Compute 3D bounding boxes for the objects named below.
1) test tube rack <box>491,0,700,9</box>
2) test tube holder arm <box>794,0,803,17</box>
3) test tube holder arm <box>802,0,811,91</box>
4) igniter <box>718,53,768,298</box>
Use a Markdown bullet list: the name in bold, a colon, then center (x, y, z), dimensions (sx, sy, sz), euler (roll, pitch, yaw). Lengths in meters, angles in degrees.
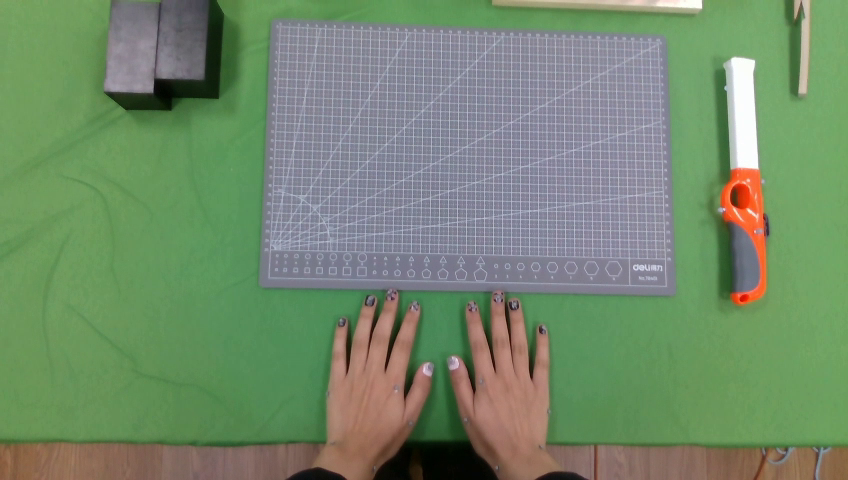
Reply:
- **test tube rack**: center (0.199, -0.310, 0.666), dimensions (0.242, 0.085, 0.066), euler (1, 82, -3)
- **test tube holder arm**: center (0.440, -0.306, 0.712), dimensions (0.010, 0.015, 0.087), euler (-1, 83, 32)
- **test tube holder arm**: center (0.443, -0.261, 0.704), dimensions (0.013, 0.015, 0.178), euler (-3, 82, 32)
- **igniter**: center (0.353, -0.074, 0.674), dimensions (0.057, 0.025, 0.275), euler (3, 83, -12)
